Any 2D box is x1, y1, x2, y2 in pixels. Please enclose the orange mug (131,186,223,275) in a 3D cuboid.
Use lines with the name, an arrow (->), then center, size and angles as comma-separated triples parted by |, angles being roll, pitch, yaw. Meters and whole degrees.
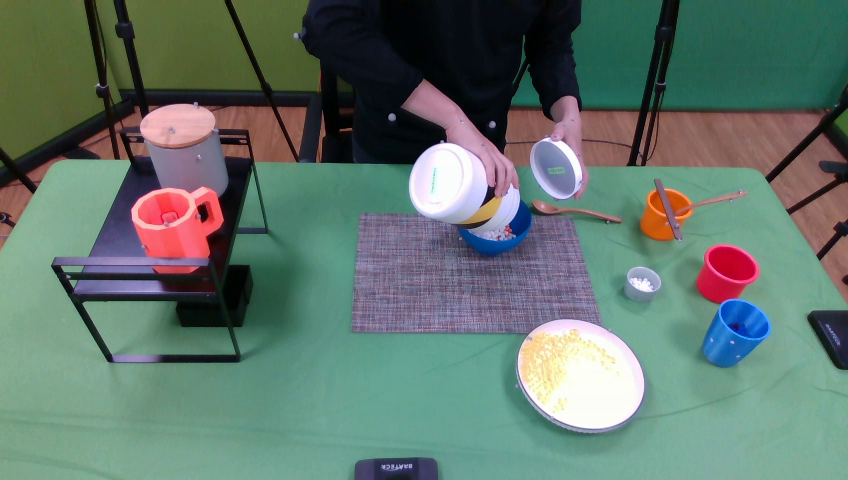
orange mug -> -0.354, -0.023, 0.887 | 0.083, 0.101, 0.126 | 31, 56, 24

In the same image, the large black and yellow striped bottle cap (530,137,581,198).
large black and yellow striped bottle cap -> 0.236, -0.130, 1.092 | 0.019, 0.115, 0.114 | -30, 55, -20

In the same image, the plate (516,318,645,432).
plate -> 0.253, 0.221, 0.992 | 0.209, 0.038, 0.208 | 2, 46, -2

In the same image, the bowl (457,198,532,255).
bowl -> 0.130, -0.025, 1.186 | 0.151, 0.077, 0.150 | 2, 46, -2

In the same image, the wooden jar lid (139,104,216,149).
wooden jar lid -> -0.372, -0.169, 0.920 | 0.108, 0.021, 0.107 | 4, 44, -4

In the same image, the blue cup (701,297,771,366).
blue cup -> 0.519, 0.162, 1.025 | 0.093, 0.101, 0.092 | 3, 45, -3

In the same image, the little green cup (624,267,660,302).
little green cup -> 0.406, 0.084, 1.135 | 0.061, 0.039, 0.061 | 3, 46, -3

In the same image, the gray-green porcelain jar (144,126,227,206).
gray-green porcelain jar -> -0.375, -0.126, 0.966 | 0.106, 0.127, 0.105 | 2, 46, -2

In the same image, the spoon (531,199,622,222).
spoon -> 0.322, -0.060, 1.279 | 0.194, 0.022, 0.041 | 8, 32, 4

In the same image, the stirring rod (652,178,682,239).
stirring rod -> 0.481, -0.065, 1.204 | 0.014, 0.006, 0.175 | 2, 46, -1

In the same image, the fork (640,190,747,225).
fork -> 0.533, -0.064, 1.211 | 0.207, 0.019, 0.028 | -22, 28, 38

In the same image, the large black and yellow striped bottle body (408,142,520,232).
large black and yellow striped bottle body -> 0.076, -0.086, 1.058 | 0.185, 0.131, 0.130 | 14, 29, -50
